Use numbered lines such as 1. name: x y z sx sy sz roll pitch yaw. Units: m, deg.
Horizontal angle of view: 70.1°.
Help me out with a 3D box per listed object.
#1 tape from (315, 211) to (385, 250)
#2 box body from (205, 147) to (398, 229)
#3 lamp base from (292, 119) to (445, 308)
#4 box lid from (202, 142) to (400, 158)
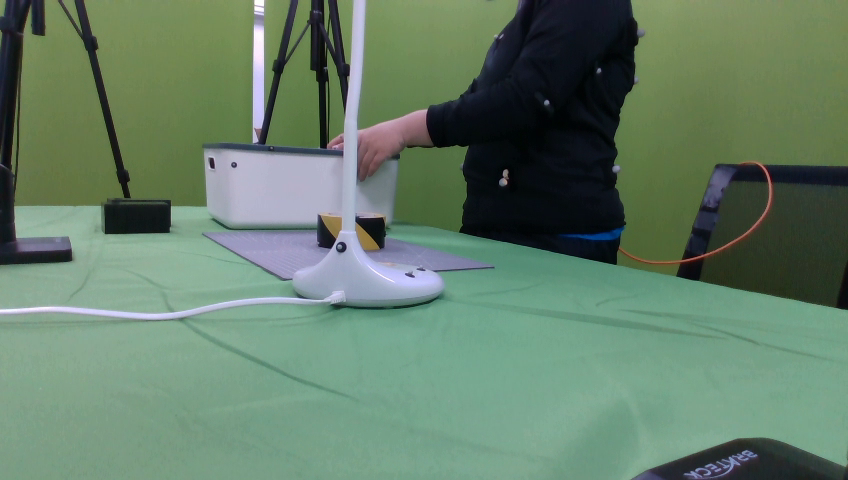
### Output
1. tape: -0.119 -0.017 0.973 0.117 0.052 0.117 2 7 0
2. box body: -0.264 -0.116 1.291 0.366 0.160 0.253 -1 8 -28
3. lamp base: -0.056 -0.030 0.616 0.160 0.180 0.179 4 10 8
4. box lid: -0.263 -0.189 1.281 0.373 0.015 0.262 -1 8 -28
